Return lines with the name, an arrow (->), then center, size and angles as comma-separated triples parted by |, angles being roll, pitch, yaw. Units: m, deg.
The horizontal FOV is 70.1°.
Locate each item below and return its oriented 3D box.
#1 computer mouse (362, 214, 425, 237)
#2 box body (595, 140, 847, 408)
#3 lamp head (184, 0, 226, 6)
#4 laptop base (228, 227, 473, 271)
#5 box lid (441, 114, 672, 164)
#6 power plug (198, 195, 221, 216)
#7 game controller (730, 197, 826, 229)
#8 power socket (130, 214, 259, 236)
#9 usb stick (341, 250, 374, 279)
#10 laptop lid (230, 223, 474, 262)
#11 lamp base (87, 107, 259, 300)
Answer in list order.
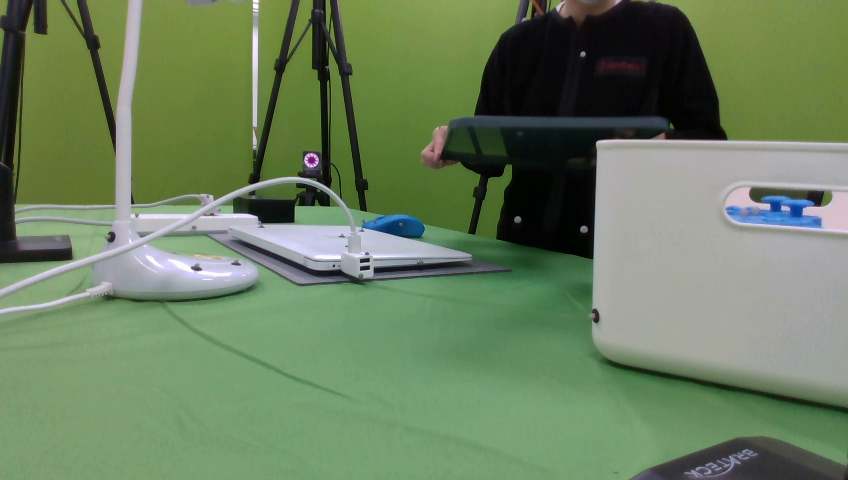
computer mouse -> -0.057, -0.028, 1.139 | 0.118, 0.041, 0.062 | -2, 9, -20
box body -> 0.309, 0.006, 0.509 | 0.253, 0.160, 0.366 | 6, 8, 29
lamp head -> -0.229, -0.320, 0.627 | 0.112, 0.112, 0.123 | 6, -35, 26
laptop base -> -0.123, 0.011, 0.888 | 0.237, 0.023, 0.352 | 2, 6, -35
box lid -> 0.160, -0.136, 0.863 | 0.263, 0.015, 0.371 | 1, 0, -1
power plug -> -0.386, -0.055, 1.088 | 0.035, 0.052, 0.072 | -2, 6, -24
game controller -> 0.257, -0.004, 0.445 | 0.097, 0.051, 0.155 | 1, 7, 15
power socket -> -0.397, -0.028, 1.048 | 0.228, 0.032, 0.072 | -3, 7, -35
usb stick -> -0.078, 0.026, 0.686 | 0.021, 0.027, 0.059 | -8, 8, -29
laptop lid -> -0.121, 0.000, 0.888 | 0.243, 0.013, 0.355 | 1, 7, -33
lamp base -> -0.254, -0.039, 0.603 | 0.160, 0.180, 0.179 | 5, 10, 18
